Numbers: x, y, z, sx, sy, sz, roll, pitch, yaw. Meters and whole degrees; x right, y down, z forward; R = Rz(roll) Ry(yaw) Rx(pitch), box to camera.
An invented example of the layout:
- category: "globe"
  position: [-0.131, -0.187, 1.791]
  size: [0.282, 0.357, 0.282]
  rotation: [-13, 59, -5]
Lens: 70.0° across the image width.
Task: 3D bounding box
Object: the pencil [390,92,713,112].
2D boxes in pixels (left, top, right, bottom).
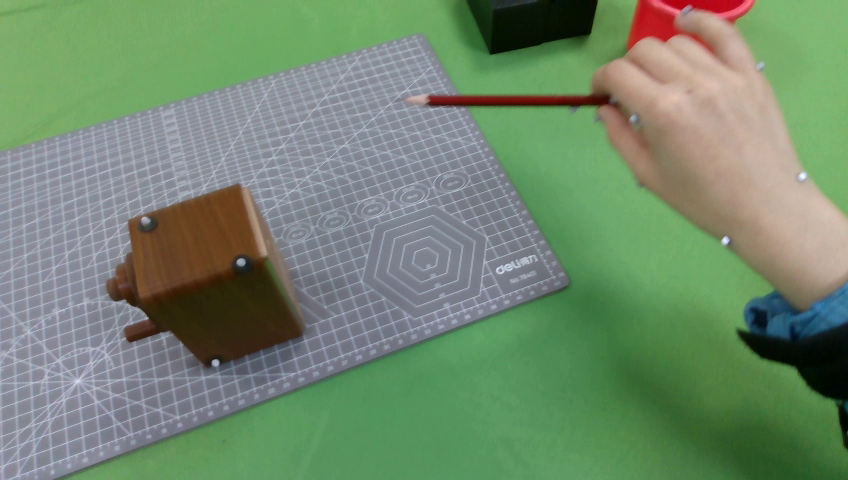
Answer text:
- category: "pencil"
  position: [0.076, -0.083, 0.369]
  size: [0.194, 0.012, 0.012]
  rotation: [0, 58, 3]

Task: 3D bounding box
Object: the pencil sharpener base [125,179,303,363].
- category: "pencil sharpener base"
  position: [-0.128, 0.024, 0.382]
  size: [0.077, 0.108, 0.061]
  rotation: [-20, 59, -9]

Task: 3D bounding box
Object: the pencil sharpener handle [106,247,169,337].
- category: "pencil sharpener handle"
  position: [-0.176, 0.036, 0.362]
  size: [0.031, 0.068, 0.035]
  rotation: [-20, 53, -9]
